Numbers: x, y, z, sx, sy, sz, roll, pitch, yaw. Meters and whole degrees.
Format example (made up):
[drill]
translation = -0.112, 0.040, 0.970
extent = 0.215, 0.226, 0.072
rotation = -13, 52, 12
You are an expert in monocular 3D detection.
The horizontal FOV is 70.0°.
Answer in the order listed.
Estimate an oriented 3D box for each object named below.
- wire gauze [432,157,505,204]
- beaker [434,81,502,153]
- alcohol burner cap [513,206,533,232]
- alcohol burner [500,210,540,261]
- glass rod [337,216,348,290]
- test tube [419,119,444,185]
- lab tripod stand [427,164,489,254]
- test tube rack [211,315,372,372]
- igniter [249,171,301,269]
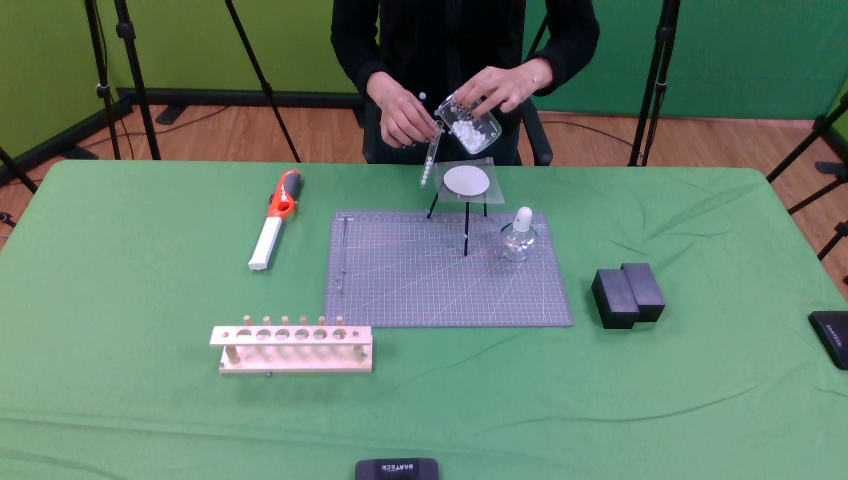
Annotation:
[wire gauze]
translation = 0.081, -0.112, 1.137
extent = 0.125, 0.011, 0.120
rotation = -2, 48, -6
[beaker]
translation = 0.075, -0.202, 1.020
extent = 0.100, 0.084, 0.073
rotation = 50, 35, -16
[alcohol burner cap]
translation = 0.187, -0.042, 1.134
extent = 0.034, 0.048, 0.033
rotation = 6, 41, -5
[alcohol burner]
translation = 0.185, -0.016, 1.159
extent = 0.078, 0.120, 0.077
rotation = 2, 48, -2
[glass rod]
translation = -0.158, 0.021, 1.171
extent = 0.008, 0.008, 0.198
rotation = 1, 43, -2
[test tube]
translation = 0.013, -0.155, 1.094
extent = 0.017, 0.151, 0.017
rotation = 8, 48, -8
[lab tripod stand]
translation = 0.078, -0.068, 1.187
extent = 0.148, 0.132, 0.147
rotation = 3, 47, -3
[test tube rack]
translation = -0.208, 0.163, 0.982
extent = 0.242, 0.085, 0.066
rotation = 1, 46, -4
[igniter]
translation = -0.297, -0.049, 1.221
extent = 0.057, 0.025, 0.275
rotation = -1, 45, 9
